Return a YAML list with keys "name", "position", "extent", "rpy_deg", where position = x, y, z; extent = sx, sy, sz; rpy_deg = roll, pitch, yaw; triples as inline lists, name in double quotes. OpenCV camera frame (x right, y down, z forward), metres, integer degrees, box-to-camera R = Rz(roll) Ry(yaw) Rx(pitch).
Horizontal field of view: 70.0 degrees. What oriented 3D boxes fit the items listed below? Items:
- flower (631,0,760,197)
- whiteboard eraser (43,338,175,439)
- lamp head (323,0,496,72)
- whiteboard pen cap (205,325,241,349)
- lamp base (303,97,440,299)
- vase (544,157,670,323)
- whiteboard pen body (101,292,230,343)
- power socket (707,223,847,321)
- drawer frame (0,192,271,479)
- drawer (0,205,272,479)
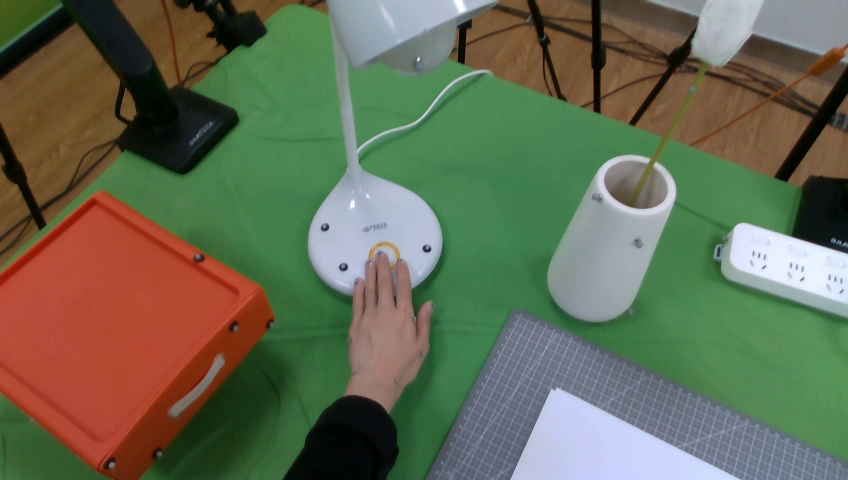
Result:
- name: "flower"
  position: [0.197, -0.051, 0.555]
  extent: [0.038, 0.364, 0.043]
  rpy_deg: [14, 40, 1]
- name: "whiteboard eraser"
  position: [-0.290, 0.137, 0.561]
  extent: [0.112, 0.042, 0.055]
  rpy_deg: [20, 52, 20]
- name: "lamp head"
  position: [-0.026, -0.188, 0.404]
  extent: [0.112, 0.112, 0.123]
  rpy_deg: [-30, 100, -19]
- name: "whiteboard pen cap"
  position: [-0.199, 0.095, 0.595]
  extent: [0.033, 0.018, 0.018]
  rpy_deg: [15, 57, 16]
- name: "lamp base"
  position: [-0.068, -0.052, 0.661]
  extent: [0.161, 0.182, 0.177]
  rpy_deg: [-23, 57, -15]
- name: "vase"
  position: [0.182, 0.005, 0.617]
  extent: [0.098, 0.202, 0.097]
  rpy_deg: [0, 56, 1]
- name: "whiteboard pen body"
  position: [-0.257, 0.079, 0.604]
  extent: [0.140, 0.017, 0.017]
  rpy_deg: [17, 58, 7]
- name: "power socket"
  position: [0.447, 0.043, 0.695]
  extent: [0.226, 0.033, 0.072]
  rpy_deg: [19, 59, 11]
- name: "drawer frame"
  position: [-0.296, 0.086, 0.577]
  extent: [0.212, 0.083, 0.201]
  rpy_deg: [29, 61, 15]
- name: "drawer"
  position: [-0.289, 0.086, 0.574]
  extent: [0.210, 0.074, 0.194]
  rpy_deg: [28, 62, 17]
